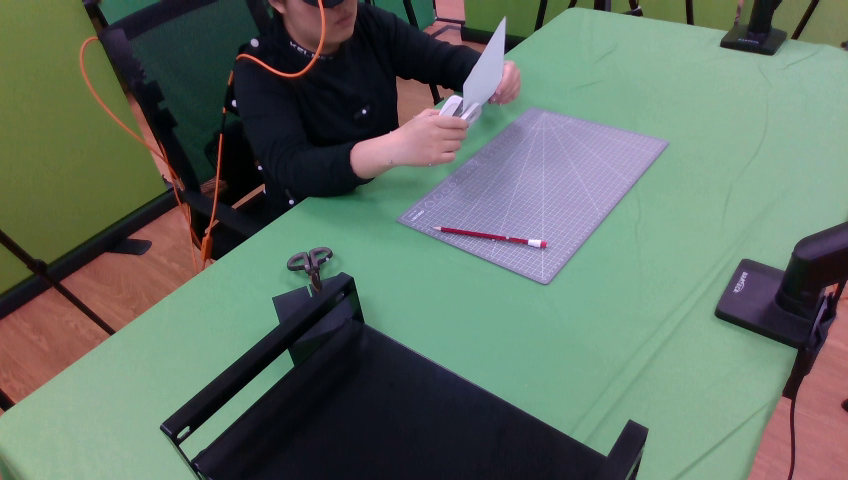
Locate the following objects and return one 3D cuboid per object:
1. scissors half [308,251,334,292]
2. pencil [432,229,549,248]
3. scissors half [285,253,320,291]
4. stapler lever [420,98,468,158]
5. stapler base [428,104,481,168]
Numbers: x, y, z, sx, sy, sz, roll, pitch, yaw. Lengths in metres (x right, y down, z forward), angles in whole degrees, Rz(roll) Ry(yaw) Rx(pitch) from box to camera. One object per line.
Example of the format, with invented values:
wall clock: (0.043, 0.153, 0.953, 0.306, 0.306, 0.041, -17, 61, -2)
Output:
scissors half: (-0.159, 0.046, 0.913, 0.040, 0.013, 0.174, -5, 18, -4)
pencil: (0.103, -0.005, 0.970, 0.193, 0.012, 0.012, 8, 42, 18)
scissors half: (-0.178, 0.049, 0.909, 0.040, 0.013, 0.174, -16, 19, -20)
stapler lever: (0.031, -0.195, 1.039, 0.040, 0.027, 0.118, 42, 84, 18)
stapler base: (0.047, -0.184, 1.034, 0.024, 0.041, 0.130, 37, 83, 17)
